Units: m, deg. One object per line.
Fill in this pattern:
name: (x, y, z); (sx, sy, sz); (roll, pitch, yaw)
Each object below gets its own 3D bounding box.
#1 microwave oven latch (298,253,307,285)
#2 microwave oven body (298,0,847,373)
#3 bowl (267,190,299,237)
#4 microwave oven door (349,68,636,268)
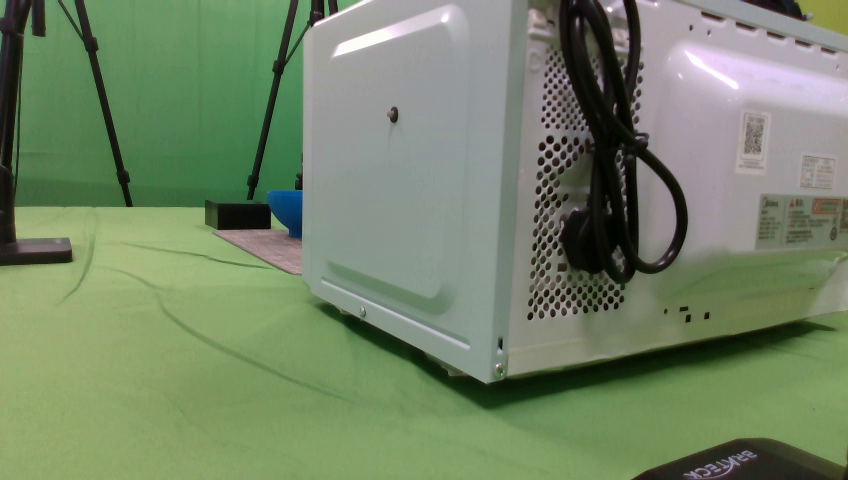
microwave oven latch: (-0.081, 0.027, 0.582); (0.079, 0.029, 0.030); (-1, 7, -32)
microwave oven body: (0.151, -0.055, 0.543); (0.444, 0.260, 0.324); (-1, 7, -33)
bowl: (-0.202, -0.046, 1.069); (0.151, 0.077, 0.151); (3, 7, 0)
microwave oven door: (0.084, -0.093, 0.781); (0.356, 0.243, 0.039); (2, 7, 1)
